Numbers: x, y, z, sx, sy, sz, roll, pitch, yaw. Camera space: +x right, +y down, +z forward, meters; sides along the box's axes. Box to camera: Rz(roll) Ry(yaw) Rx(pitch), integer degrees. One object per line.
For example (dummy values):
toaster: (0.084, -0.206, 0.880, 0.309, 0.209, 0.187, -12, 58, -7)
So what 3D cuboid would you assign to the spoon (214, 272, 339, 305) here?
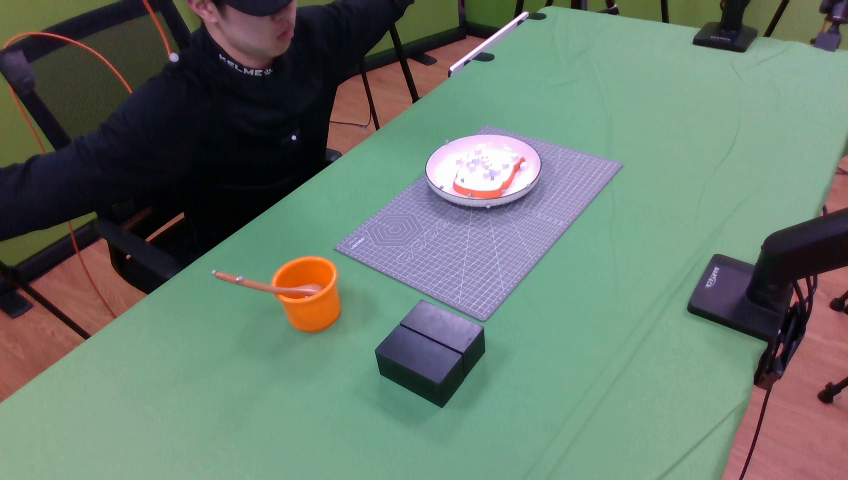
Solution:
spoon: (-0.192, 0.066, 0.814, 0.195, 0.021, 0.041, 13, 20, -44)

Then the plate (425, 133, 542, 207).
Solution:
plate: (0.106, -0.121, 1.079, 0.209, 0.038, 0.208, -4, 41, 4)

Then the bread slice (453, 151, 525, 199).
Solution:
bread slice: (0.112, -0.118, 1.079, 0.104, 0.019, 0.131, 11, 42, 21)
